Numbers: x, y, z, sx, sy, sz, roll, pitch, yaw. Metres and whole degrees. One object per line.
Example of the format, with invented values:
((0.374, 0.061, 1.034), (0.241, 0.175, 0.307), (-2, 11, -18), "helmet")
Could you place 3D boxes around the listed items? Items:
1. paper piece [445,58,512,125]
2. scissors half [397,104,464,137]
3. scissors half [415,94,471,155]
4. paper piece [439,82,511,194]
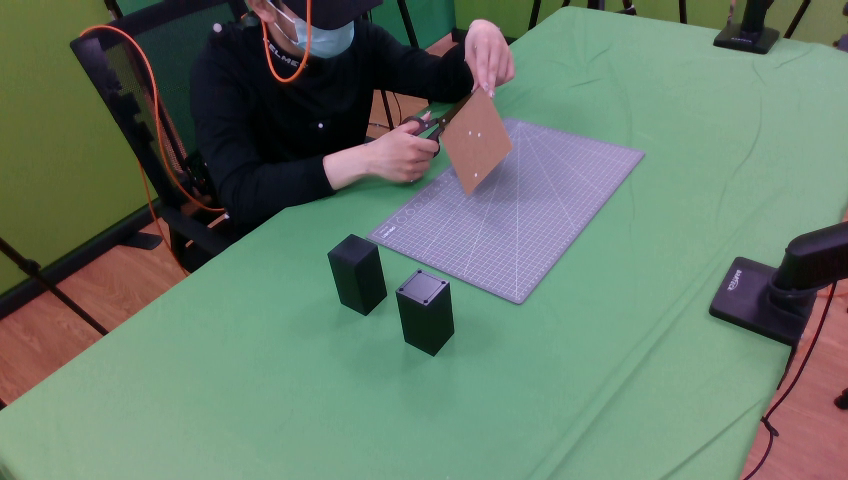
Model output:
((0.094, -0.261, 1.088), (0.008, 0.135, 0.138), (47, 44, -3), "paper piece")
((0.020, -0.217, 1.059), (0.174, 0.040, 0.013), (-12, 43, 36), "scissors half")
((0.036, -0.203, 1.067), (0.040, 0.174, 0.013), (33, 51, -9), "scissors half")
((0.082, -0.167, 1.007), (0.004, 0.135, 0.135), (-4, 62, -36), "paper piece")
